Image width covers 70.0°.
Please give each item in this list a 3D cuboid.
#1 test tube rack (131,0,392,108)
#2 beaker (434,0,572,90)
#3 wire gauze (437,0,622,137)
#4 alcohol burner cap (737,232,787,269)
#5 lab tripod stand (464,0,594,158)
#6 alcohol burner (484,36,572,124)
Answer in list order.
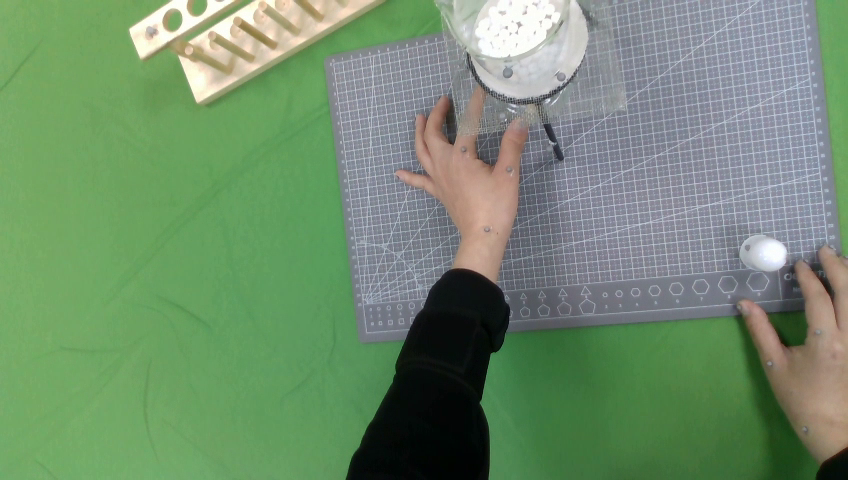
[{"bbox_3d":[-0.161,-0.224,0.606,0.242,0.085,0.066,-25,85,15],"label":"test tube rack"},{"bbox_3d":[0.058,-0.144,0.404,0.083,0.100,0.074,7,94,15],"label":"beaker"},{"bbox_3d":[0.076,-0.145,0.449,0.125,0.011,0.121,-8,94,13],"label":"wire gauze"},{"bbox_3d":[0.288,0.010,0.514,0.034,0.048,0.034,0,91,14],"label":"alcohol burner cap"},{"bbox_3d":[0.093,-0.146,0.513,0.148,0.132,0.148,1,93,14],"label":"lab tripod stand"},{"bbox_3d":[0.089,-0.142,0.524,0.077,0.119,0.078,0,91,14],"label":"alcohol burner"}]
